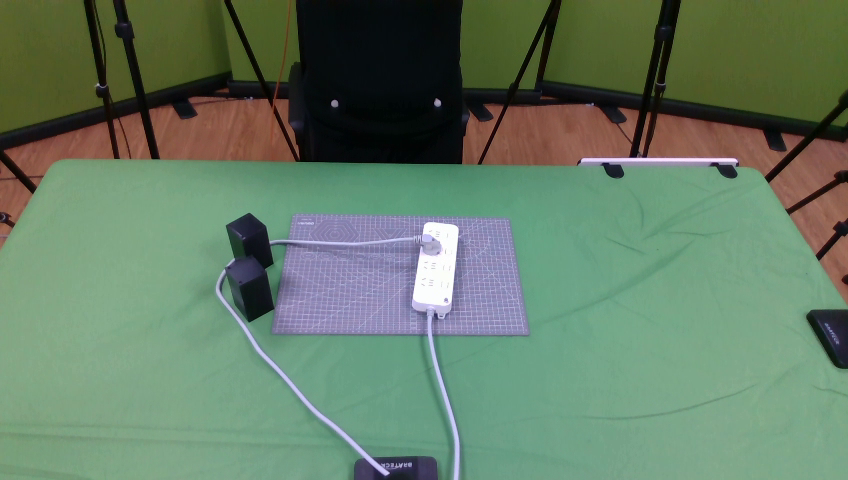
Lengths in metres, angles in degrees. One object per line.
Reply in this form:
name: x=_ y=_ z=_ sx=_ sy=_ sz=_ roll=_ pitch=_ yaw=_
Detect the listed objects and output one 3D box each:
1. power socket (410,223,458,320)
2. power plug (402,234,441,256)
power socket: x=0.021 y=0.050 z=1.139 sx=0.072 sy=0.033 sz=0.225 roll=6 pitch=46 yaw=3
power plug: x=-0.003 y=0.010 z=1.150 sx=0.072 sy=0.053 sz=0.035 roll=13 pitch=46 yaw=11
